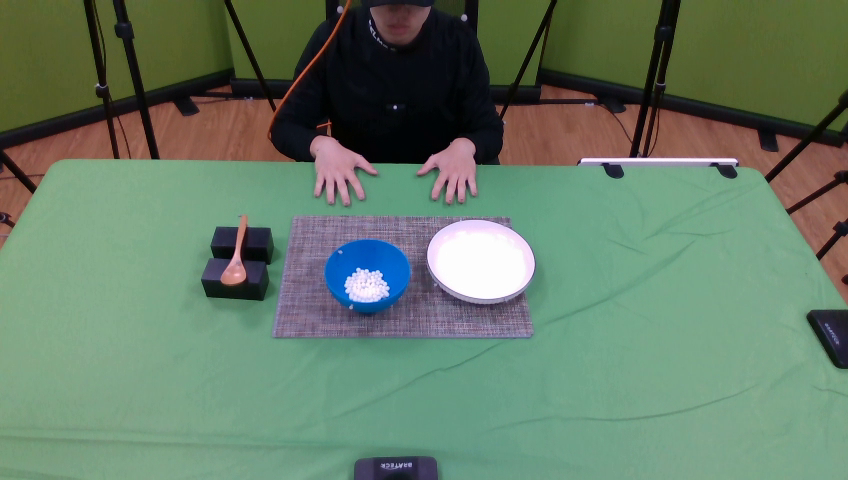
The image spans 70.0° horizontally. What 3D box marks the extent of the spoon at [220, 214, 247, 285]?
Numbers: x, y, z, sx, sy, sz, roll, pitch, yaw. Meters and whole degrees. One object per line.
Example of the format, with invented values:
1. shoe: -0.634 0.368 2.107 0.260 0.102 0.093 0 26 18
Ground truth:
1. spoon: -0.334 0.014 1.094 0.041 0.022 0.192 -1 45 -6

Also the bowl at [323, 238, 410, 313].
1. bowl: -0.101 0.077 1.073 0.151 0.077 0.150 2 46 -2

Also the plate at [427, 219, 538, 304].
1. plate: 0.109 0.044 1.149 0.208 0.039 0.206 2 46 -2
